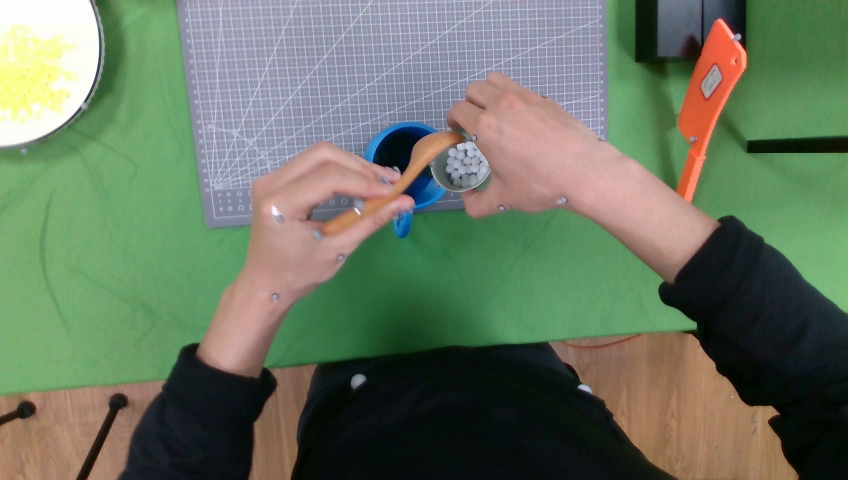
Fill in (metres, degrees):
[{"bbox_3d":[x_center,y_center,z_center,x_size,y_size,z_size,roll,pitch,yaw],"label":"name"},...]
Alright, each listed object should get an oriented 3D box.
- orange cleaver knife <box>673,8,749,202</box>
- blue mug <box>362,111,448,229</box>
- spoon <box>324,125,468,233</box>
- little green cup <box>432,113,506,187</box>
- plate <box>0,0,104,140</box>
[{"bbox_3d":[0.301,-0.140,0.665,0.012,0.076,0.213,-6,132,-8],"label":"orange cleaver knife"},{"bbox_3d":[-0.020,-0.069,0.615,0.082,0.105,0.117,3,99,-9],"label":"blue mug"},{"bbox_3d":[-0.015,-0.048,0.436,0.041,0.193,0.022,0,121,27],"label":"spoon"},{"bbox_3d":[0.042,-0.077,0.534,0.061,0.039,0.061,-5,79,26],"label":"little green cup"},{"bbox_3d":[-0.407,-0.200,0.567,0.209,0.038,0.209,-2,101,-8],"label":"plate"}]
